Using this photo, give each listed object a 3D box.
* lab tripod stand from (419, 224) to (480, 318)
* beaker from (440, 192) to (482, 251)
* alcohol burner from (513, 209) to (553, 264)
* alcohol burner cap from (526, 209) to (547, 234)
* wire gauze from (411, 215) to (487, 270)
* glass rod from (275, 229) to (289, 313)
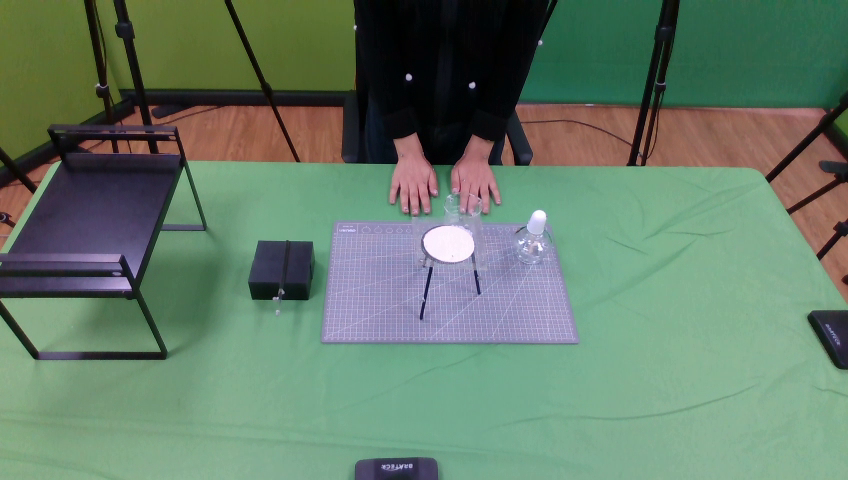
[{"bbox_3d":[0.034,0.052,1.070,0.148,0.132,0.147,3,48,-3],"label":"lab tripod stand"},{"bbox_3d":[0.072,-0.034,1.180,0.084,0.101,0.073,-20,51,-22],"label":"beaker"},{"bbox_3d":[0.210,-0.012,1.158,0.078,0.120,0.077,2,44,-1],"label":"alcohol burner"},{"bbox_3d":[0.212,-0.037,1.133,0.034,0.048,0.033,4,51,-5],"label":"alcohol burner cap"},{"bbox_3d":[0.041,0.002,1.026,0.125,0.011,0.120,1,46,-3],"label":"wire gauze"},{"bbox_3d":[-0.251,0.050,1.075,0.008,0.008,0.198,-1,45,-5],"label":"glass rod"}]
